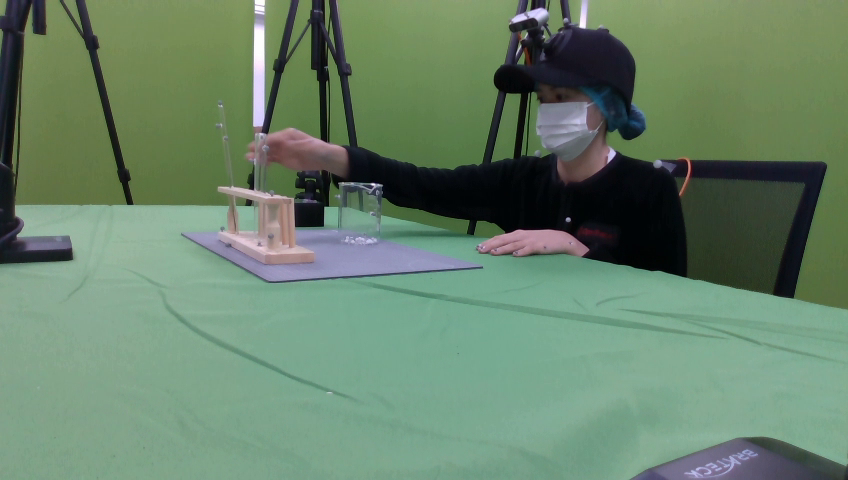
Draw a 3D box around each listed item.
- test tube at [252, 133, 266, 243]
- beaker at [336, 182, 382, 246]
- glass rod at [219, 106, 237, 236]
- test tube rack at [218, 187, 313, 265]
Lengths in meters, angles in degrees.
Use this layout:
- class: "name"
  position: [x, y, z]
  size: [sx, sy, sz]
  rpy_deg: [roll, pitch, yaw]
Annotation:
- class: "test tube"
  position: [-0.225, -0.070, 0.826]
  size: [0.017, 0.150, 0.017]
  rpy_deg: [2, 2, 0]
- class: "beaker"
  position: [-0.107, -0.043, 0.996]
  size: [0.074, 0.100, 0.083]
  rpy_deg: [-2, 10, -29]
- class: "glass rod"
  position: [-0.296, -0.101, 0.913]
  size: [0.008, 0.199, 0.008]
  rpy_deg: [-3, 9, 1]
- class: "test tube rack"
  position: [-0.235, -0.027, 0.872]
  size: [0.067, 0.085, 0.241]
  rpy_deg: [-2, 8, -32]
